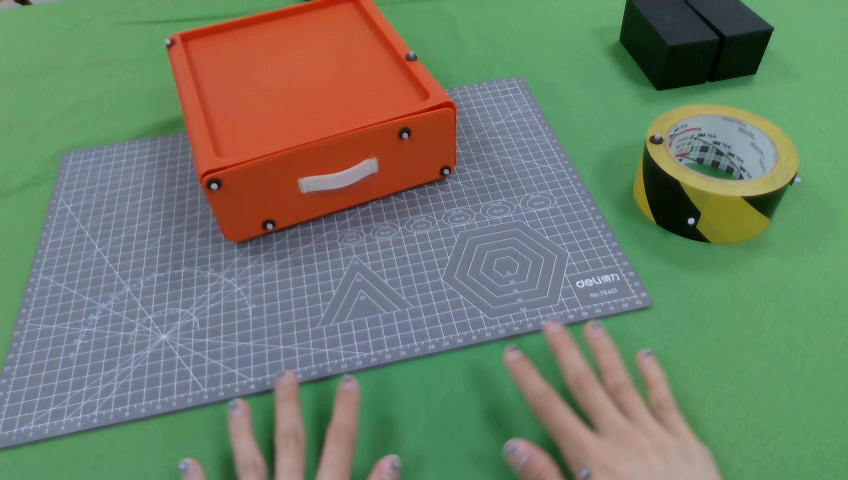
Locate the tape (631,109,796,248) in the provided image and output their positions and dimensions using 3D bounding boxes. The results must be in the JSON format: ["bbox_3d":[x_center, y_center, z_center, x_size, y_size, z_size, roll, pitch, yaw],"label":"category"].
[{"bbox_3d":[0.227,-0.052,0.483,0.117,0.053,0.115,-1,48,2],"label":"tape"}]

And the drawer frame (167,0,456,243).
[{"bbox_3d":[-0.105,-0.117,0.538,0.202,0.083,0.211,-20,49,-13],"label":"drawer frame"}]

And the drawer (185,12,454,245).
[{"bbox_3d":[-0.102,-0.112,0.535,0.195,0.074,0.209,-19,49,-12],"label":"drawer"}]
